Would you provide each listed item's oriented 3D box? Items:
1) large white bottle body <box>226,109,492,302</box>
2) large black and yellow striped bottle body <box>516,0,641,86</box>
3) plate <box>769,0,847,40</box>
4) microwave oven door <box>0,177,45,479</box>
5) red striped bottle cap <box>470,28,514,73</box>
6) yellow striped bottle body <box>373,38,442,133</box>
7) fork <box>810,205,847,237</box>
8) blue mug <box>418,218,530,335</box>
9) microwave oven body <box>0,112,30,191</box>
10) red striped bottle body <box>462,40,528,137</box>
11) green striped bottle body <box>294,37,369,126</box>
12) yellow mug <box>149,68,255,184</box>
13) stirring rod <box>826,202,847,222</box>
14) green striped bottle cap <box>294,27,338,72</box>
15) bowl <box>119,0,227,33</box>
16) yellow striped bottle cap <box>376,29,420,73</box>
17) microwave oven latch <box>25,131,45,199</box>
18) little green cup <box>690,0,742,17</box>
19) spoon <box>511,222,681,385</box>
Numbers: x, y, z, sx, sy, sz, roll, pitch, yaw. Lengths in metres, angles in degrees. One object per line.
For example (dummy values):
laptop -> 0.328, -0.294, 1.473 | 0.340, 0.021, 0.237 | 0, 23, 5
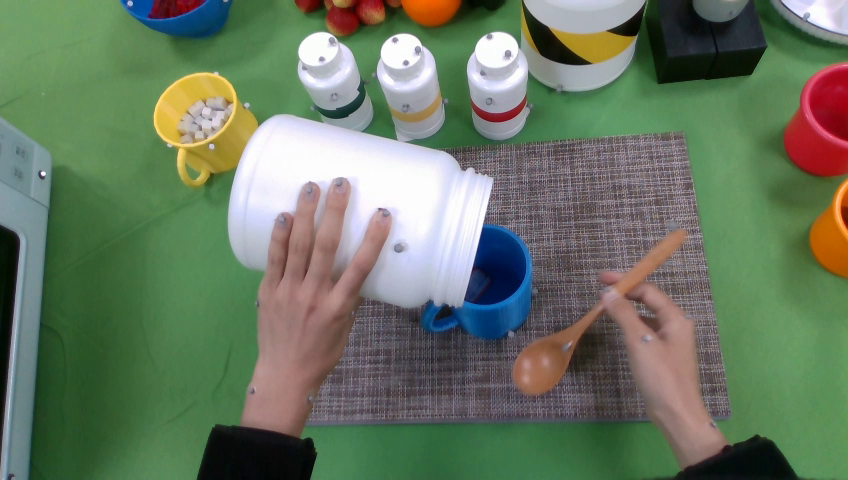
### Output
large white bottle body -> -0.047, -0.024, 0.489 | 0.184, 0.131, 0.130 | 13, 72, 4
large black and yellow striped bottle body -> 0.163, -0.265, 0.637 | 0.130, 0.185, 0.130 | -3, 69, 7
plate -> 0.483, -0.308, 0.686 | 0.209, 0.038, 0.207 | -3, 70, 7
microwave oven door -> -0.452, 0.078, 0.546 | 0.039, 0.245, 0.353 | -12, 68, 4
red striped bottle cap -> 0.068, -0.188, 0.599 | 0.044, 0.018, 0.044 | -1, 68, 3
yellow striped bottle body -> -0.018, -0.174, 0.663 | 0.063, 0.121, 0.062 | -3, 69, 8
fork -> 0.432, 0.003, 0.518 | 0.028, 0.019, 0.205 | -41, 25, -6
blue mug -> 0.045, 0.047, 0.575 | 0.116, 0.107, 0.081 | -33, 67, -5
microwave oven body -> -0.601, 0.070, 0.575 | 0.326, 0.262, 0.438 | -12, 69, 3
red striped bottle body -> 0.076, -0.168, 0.648 | 0.063, 0.121, 0.062 | -5, 65, 12
green striped bottle body -> -0.104, -0.179, 0.677 | 0.063, 0.120, 0.062 | -2, 69, 7
yellow mug -> -0.262, -0.128, 0.710 | 0.100, 0.064, 0.130 | 7, 71, 10
stirring rod -> 0.402, 0.002, 0.530 | 0.014, 0.006, 0.175 | -1, 27, 5
green striped bottle cap -> -0.112, -0.198, 0.629 | 0.044, 0.020, 0.044 | -2, 69, 5
bowl -> -0.309, -0.324, 0.782 | 0.151, 0.077, 0.150 | -2, 69, 7
yellow striped bottle cap -> -0.026, -0.192, 0.615 | 0.044, 0.019, 0.044 | -2, 68, 4
microwave oven latch -> -0.471, -0.087, 0.719 | 0.030, 0.030, 0.078 | -10, 69, 4
little green cup -> 0.313, -0.269, 0.641 | 0.061, 0.039, 0.061 | -2, 67, 5
spoon -> 0.148, 0.057, 0.524 | 0.194, 0.022, 0.041 | -49, 66, 20
